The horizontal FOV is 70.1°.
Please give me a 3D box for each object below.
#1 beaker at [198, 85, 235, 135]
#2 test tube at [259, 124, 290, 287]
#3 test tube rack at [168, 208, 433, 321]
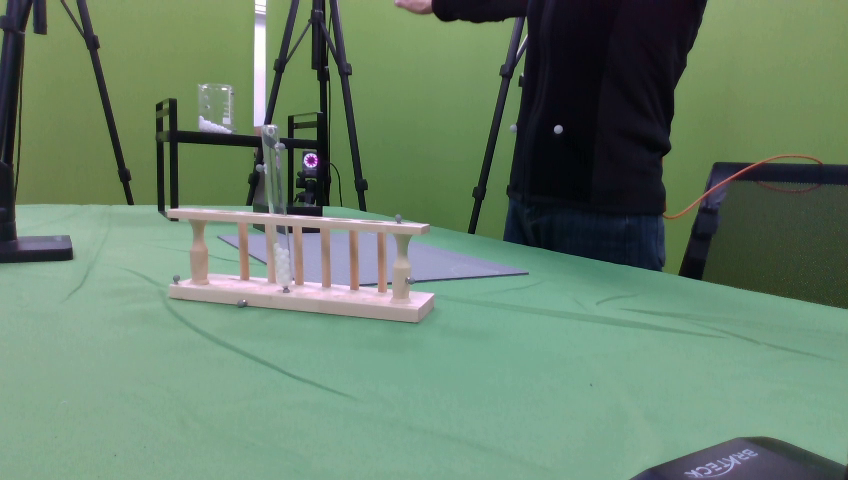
[{"bbox_3d":[-0.439,-0.273,1.275,0.074,0.100,0.084,5,8,19],"label":"beaker"},{"bbox_3d":[-0.137,-0.031,0.556,0.017,0.150,0.017,-4,7,1],"label":"test tube"},{"bbox_3d":[-0.115,0.017,0.574,0.242,0.085,0.067,4,8,13],"label":"test tube rack"}]
